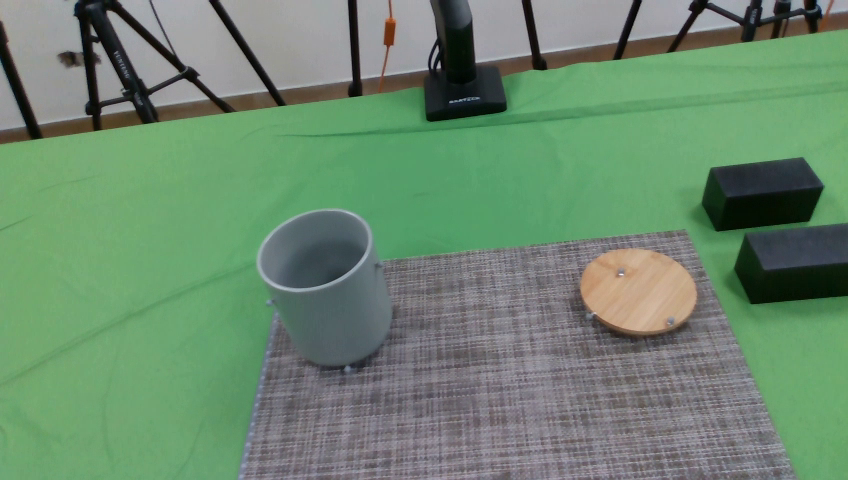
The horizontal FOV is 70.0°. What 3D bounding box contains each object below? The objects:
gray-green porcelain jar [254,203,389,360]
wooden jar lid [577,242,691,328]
[{"bbox_3d":[-0.092,0.045,0.582,0.106,0.128,0.105,-5,45,5],"label":"gray-green porcelain jar"},{"bbox_3d":[0.207,0.046,0.603,0.108,0.021,0.107,-5,46,6],"label":"wooden jar lid"}]
